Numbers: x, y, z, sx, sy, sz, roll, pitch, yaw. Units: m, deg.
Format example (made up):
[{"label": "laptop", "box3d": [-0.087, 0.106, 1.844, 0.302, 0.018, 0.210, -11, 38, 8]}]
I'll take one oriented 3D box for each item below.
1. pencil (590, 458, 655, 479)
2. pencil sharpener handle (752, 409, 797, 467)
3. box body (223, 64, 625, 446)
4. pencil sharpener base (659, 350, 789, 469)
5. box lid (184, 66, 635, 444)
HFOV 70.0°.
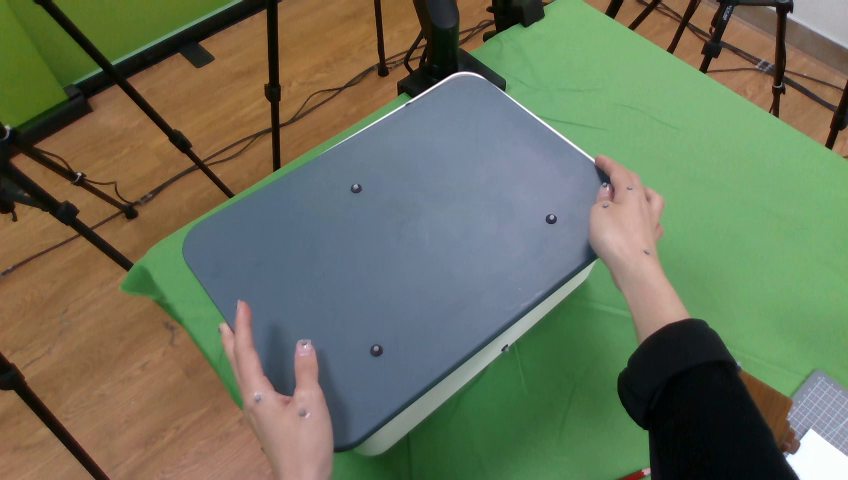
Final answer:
[{"label": "pencil", "box3d": [0.142, 0.247, 0.592, 0.194, 0.012, 0.012, -16, 58, -12]}, {"label": "pencil sharpener handle", "box3d": [0.328, 0.186, 0.557, 0.030, 0.068, 0.036, 31, 56, 19]}, {"label": "box body", "box3d": [-0.005, 0.009, 0.653, 0.364, 0.162, 0.252, -36, 64, -21]}, {"label": "pencil sharpener base", "box3d": [0.288, 0.167, 0.584, 0.076, 0.108, 0.061, 31, 62, 19]}, {"label": "box lid", "box3d": [-0.010, -0.018, 0.571, 0.371, 0.015, 0.261, -35, 64, -18]}]
